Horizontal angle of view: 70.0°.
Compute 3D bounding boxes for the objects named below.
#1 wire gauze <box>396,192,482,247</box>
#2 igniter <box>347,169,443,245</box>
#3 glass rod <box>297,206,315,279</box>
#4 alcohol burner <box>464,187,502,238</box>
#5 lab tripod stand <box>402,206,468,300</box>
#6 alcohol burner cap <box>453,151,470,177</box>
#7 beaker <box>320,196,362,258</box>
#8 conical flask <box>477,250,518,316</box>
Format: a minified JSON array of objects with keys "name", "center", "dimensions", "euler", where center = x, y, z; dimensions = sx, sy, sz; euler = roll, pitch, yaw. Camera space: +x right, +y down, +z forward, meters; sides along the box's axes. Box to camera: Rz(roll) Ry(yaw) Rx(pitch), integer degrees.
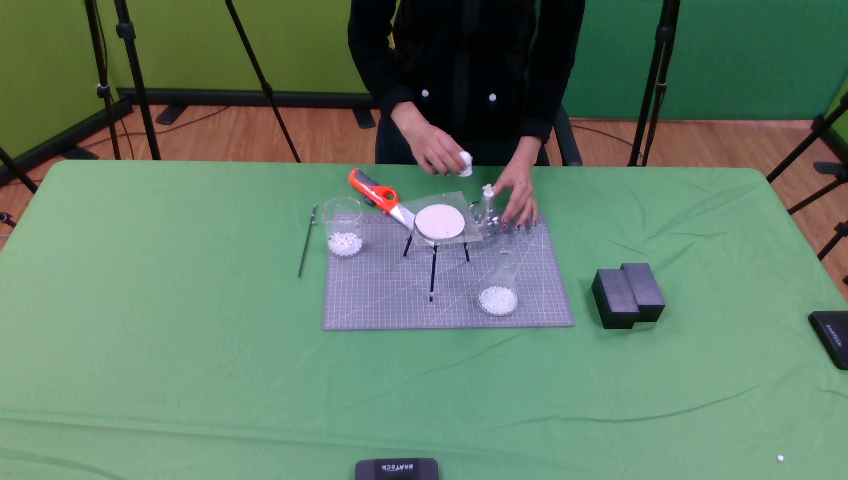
[{"name":"wire gauze","center":[0.025,-0.036,1.061],"dimensions":[0.125,0.011,0.120],"euler":[-9,47,-14]},{"name":"igniter","center":[-0.068,-0.071,1.258],"dimensions":[0.275,0.025,0.057],"euler":[37,71,28]},{"name":"glass rod","center":[-0.232,0.000,1.191],"dimensions":[0.008,0.008,0.198],"euler":[2,46,-1]},{"name":"alcohol burner","center":[0.120,-0.061,1.201],"dimensions":[0.078,0.119,0.077],"euler":[4,47,-4]},{"name":"lab tripod stand","center":[0.023,0.013,1.108],"dimensions":[0.148,0.132,0.147],"euler":[3,44,-2]},{"name":"alcohol burner cap","center":[0.072,-0.148,1.165],"dimensions":[0.034,0.048,0.033],"euler":[-3,42,3]},{"name":"beaker","center":[-0.156,-0.021,1.150],"dimensions":[0.084,0.101,0.073],"euler":[-30,55,-28]},{"name":"conical flask","center":[0.136,0.072,1.067],"dimensions":[0.075,0.122,0.075],"euler":[2,46,-2]}]
